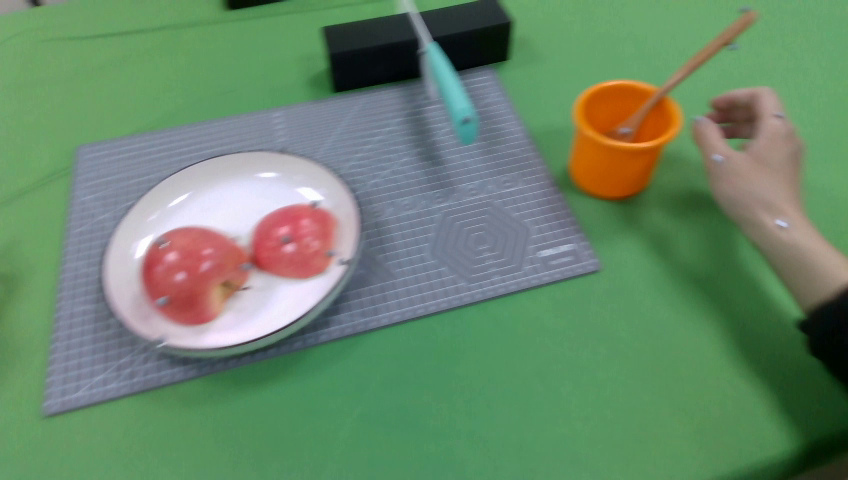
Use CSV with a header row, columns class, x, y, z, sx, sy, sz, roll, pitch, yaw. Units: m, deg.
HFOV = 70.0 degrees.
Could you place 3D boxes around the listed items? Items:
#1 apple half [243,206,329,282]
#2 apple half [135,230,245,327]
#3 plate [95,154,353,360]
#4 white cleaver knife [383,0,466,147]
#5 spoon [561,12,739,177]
class,x,y,z,sx,sy,sz,roll,pitch,yaw
apple half,-0.119,-0.003,0.515,0.081,0.033,0.080,0,55,1
apple half,-0.191,0.022,0.485,0.074,0.054,0.080,22,56,21
plate,-0.162,0.011,0.513,0.209,0.038,0.207,0,52,1
white cleaver knife,-0.007,-0.188,0.648,0.021,0.066,0.283,-16,49,-5
spoon,0.201,-0.127,0.545,0.022,0.194,0.041,19,34,-42
